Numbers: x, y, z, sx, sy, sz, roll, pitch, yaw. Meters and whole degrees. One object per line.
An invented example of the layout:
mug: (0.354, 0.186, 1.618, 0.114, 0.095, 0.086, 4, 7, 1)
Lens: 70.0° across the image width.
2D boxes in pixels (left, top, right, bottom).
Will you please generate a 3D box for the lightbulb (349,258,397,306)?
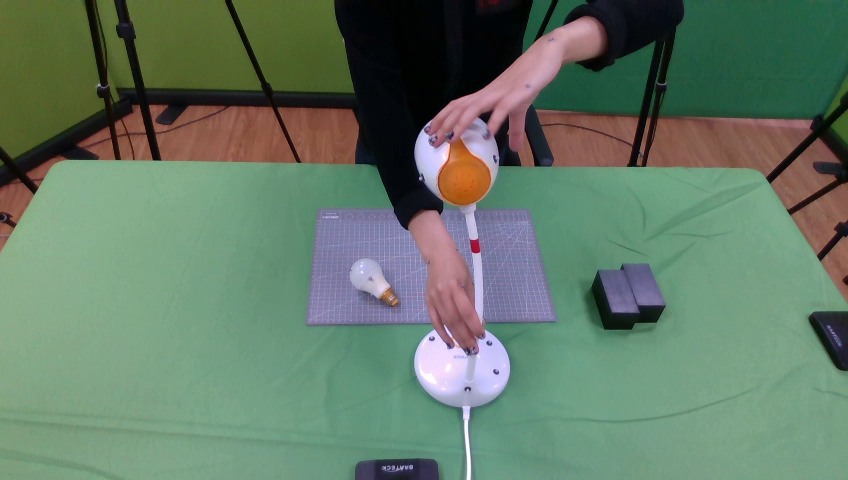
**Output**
lightbulb: (-0.090, 0.079, 1.094, 0.107, 0.060, 0.059, 43, 56, 12)

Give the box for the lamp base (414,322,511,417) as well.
lamp base: (0.069, 0.160, 0.941, 0.161, 0.181, 0.178, -4, 49, -8)

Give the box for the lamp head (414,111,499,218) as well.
lamp head: (0.045, -0.089, 0.758, 0.112, 0.113, 0.122, -1, 32, -4)
